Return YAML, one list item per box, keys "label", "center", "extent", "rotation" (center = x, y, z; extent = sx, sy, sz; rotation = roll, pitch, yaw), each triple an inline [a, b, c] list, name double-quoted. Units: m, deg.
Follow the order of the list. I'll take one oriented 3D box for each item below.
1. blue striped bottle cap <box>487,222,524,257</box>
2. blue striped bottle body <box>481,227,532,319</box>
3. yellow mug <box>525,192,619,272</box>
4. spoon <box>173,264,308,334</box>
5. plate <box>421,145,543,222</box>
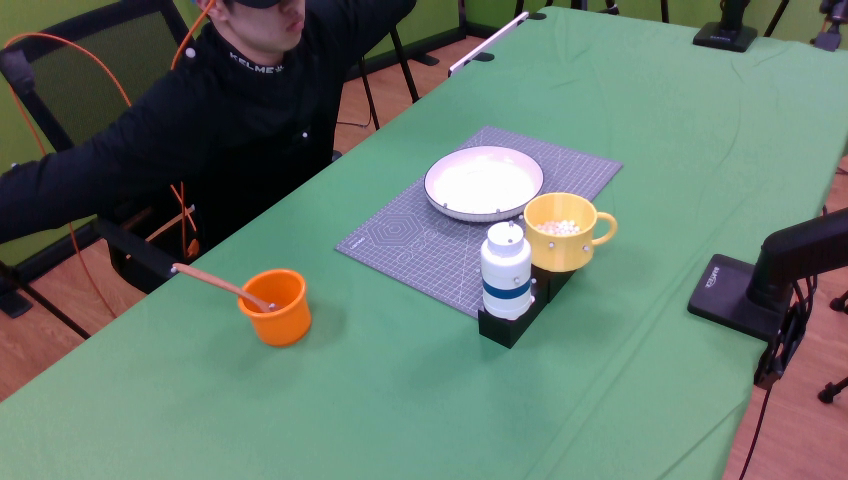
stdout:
- label: "blue striped bottle cap"
  center: [0.097, -0.001, 0.722]
  extent: [0.044, 0.021, 0.044]
  rotation: [-2, 39, 2]
- label: "blue striped bottle body"
  center: [0.104, 0.037, 0.756]
  extent: [0.063, 0.121, 0.063]
  rotation: [-4, 40, 4]
- label: "yellow mug"
  center: [0.206, -0.014, 0.845]
  extent: [0.131, 0.064, 0.099]
  rotation: [-4, 41, 2]
- label: "spoon"
  center: [-0.245, 0.077, 0.817]
  extent: [0.021, 0.195, 0.041]
  rotation: [-39, 29, 33]
- label: "plate"
  center: [0.101, -0.094, 1.048]
  extent: [0.207, 0.039, 0.206]
  rotation: [-4, 41, 4]
